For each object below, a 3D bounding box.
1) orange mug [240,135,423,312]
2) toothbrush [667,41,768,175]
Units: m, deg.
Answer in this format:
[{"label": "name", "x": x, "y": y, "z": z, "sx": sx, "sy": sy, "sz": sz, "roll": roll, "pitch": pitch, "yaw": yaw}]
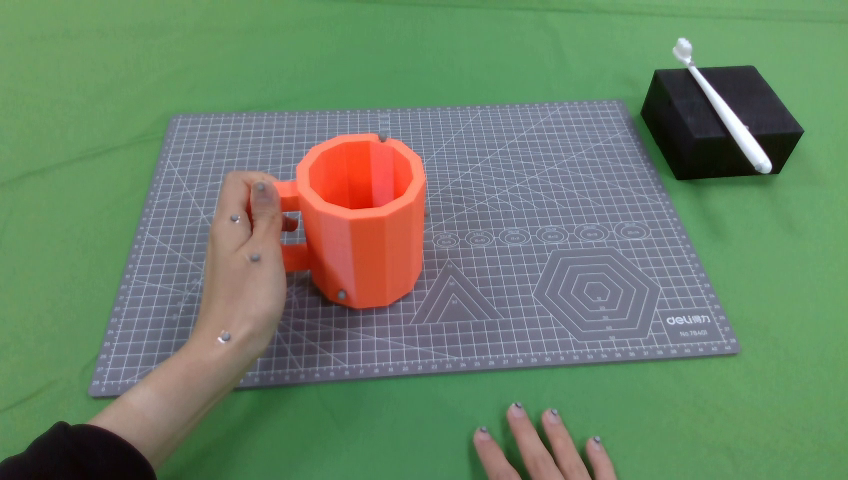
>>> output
[{"label": "orange mug", "x": -0.063, "y": -0.010, "z": 0.432, "sx": 0.126, "sy": 0.101, "sz": 0.082, "roll": -3, "pitch": 48, "yaw": -12}, {"label": "toothbrush", "x": 0.257, "y": -0.122, "z": 0.537, "sx": 0.014, "sy": 0.017, "sz": 0.180, "roll": -3, "pitch": 50, "yaw": -9}]
